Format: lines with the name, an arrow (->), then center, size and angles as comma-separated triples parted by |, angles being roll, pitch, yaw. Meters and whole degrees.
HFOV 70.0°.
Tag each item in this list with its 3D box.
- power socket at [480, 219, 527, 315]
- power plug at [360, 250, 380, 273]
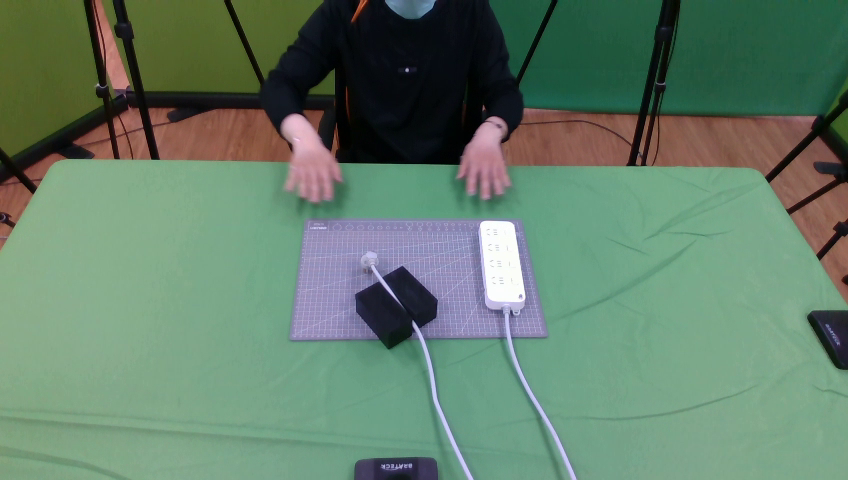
power socket -> 0.148, 0.042, 1.151 | 0.072, 0.033, 0.225 | 1, 47, -1
power plug -> -0.103, 0.049, 1.111 | 0.035, 0.053, 0.072 | 13, 39, 1
